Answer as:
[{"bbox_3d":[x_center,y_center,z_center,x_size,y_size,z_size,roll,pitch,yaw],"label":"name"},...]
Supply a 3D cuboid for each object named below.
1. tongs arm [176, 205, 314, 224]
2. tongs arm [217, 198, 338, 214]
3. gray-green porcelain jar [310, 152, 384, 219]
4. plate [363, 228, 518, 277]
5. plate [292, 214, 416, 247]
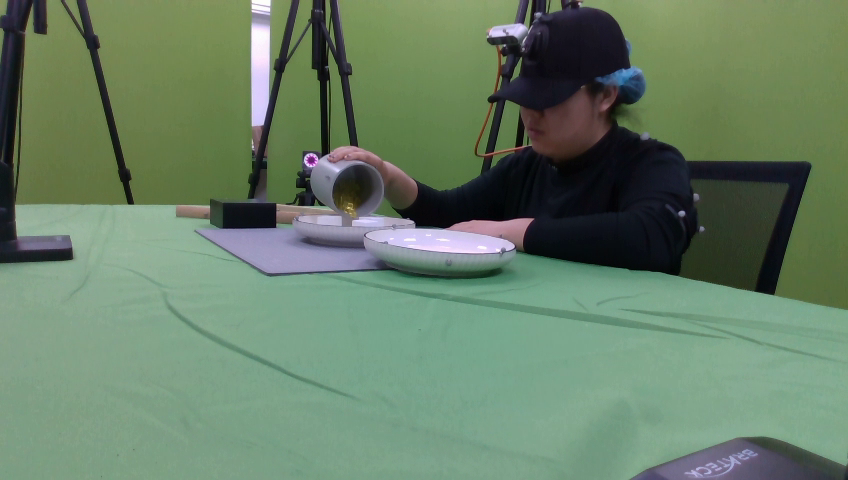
[{"bbox_3d":[-0.333,-0.051,1.273,0.387,0.028,0.028,4,5,4],"label":"tongs arm"},{"bbox_3d":[-0.313,-0.064,1.352,0.384,0.026,0.051,6,9,17],"label":"tongs arm"},{"bbox_3d":[-0.148,-0.105,1.124,0.106,0.106,0.126,-2,17,-30],"label":"gray-green porcelain jar"},{"bbox_3d":[0.021,0.016,0.817,0.209,0.038,0.209,4,9,0],"label":"plate"},{"bbox_3d":[-0.118,-0.017,1.024,0.208,0.039,0.207,2,8,0],"label":"plate"}]
